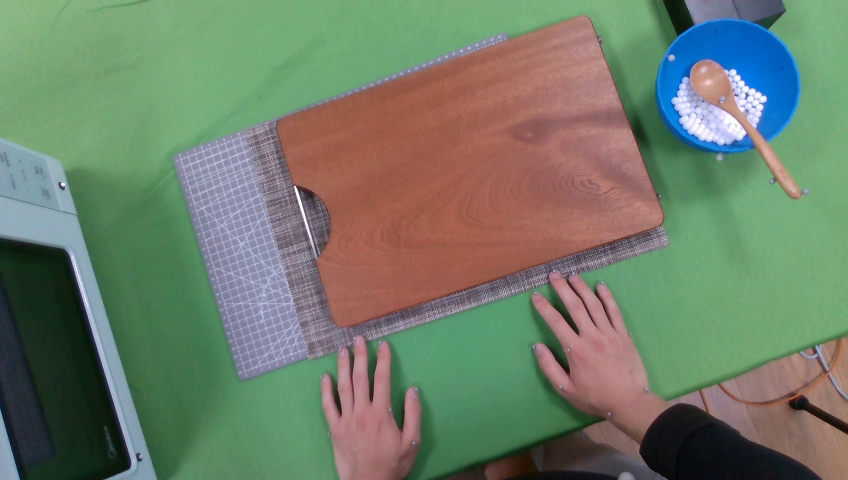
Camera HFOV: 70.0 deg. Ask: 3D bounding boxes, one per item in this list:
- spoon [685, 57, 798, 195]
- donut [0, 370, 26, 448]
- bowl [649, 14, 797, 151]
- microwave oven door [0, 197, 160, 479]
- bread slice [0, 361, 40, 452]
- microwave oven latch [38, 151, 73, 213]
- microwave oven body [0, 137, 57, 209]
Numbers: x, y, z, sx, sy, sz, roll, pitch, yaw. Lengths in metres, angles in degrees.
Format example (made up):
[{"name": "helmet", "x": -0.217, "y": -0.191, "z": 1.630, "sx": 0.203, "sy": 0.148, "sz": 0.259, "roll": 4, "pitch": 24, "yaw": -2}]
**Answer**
[{"name": "spoon", "x": 0.340, "y": -0.125, "z": 0.651, "sx": 0.041, "sy": 0.022, "sz": 0.191, "roll": -20, "pitch": 59, "yaw": 0}, {"name": "donut", "x": -0.490, "y": 0.186, "z": 0.661, "sx": 0.099, "sy": 0.048, "sz": 0.099, "roll": -1, "pitch": 98, "yaw": -11}, {"name": "bowl", "x": 0.325, "y": -0.167, "z": 0.687, "sx": 0.151, "sy": 0.077, "sz": 0.151, "roll": -1, "pitch": 84, "yaw": 5}, {"name": "microwave oven door", "x": -0.398, "y": 0.122, "z": 0.620, "sx": 0.039, "sy": 0.244, "sz": 0.354, "roll": -22, "pitch": 82, "yaw": 3}, {"name": "bread slice", "x": -0.518, "y": 0.204, "z": 0.692, "sx": 0.132, "sy": 0.019, "sz": 0.105, "roll": -11, "pitch": 90, "yaw": -7}, {"name": "microwave oven latch", "x": -0.464, "y": -0.068, "z": 0.749, "sx": 0.030, "sy": 0.029, "sz": 0.079, "roll": -22, "pitch": 83, "yaw": 2}, {"name": "microwave oven body", "x": -0.549, "y": 0.138, "z": 0.636, "sx": 0.326, "sy": 0.261, "sz": 0.440, "roll": -22, "pitch": 83, "yaw": 2}]
